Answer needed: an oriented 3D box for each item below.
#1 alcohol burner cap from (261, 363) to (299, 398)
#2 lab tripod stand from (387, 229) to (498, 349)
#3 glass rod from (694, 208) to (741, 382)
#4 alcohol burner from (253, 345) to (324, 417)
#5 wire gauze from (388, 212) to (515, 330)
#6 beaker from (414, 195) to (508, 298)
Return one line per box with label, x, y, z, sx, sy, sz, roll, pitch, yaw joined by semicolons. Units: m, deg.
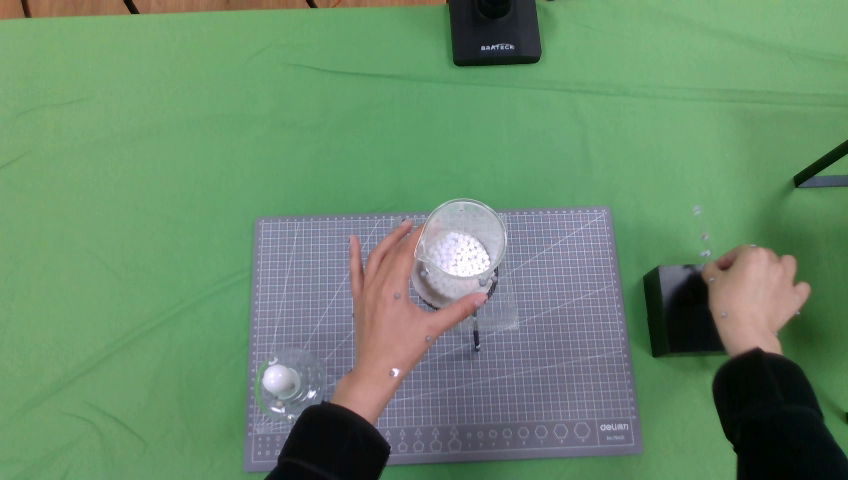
alcohol burner cap;-0.148;0.141;0.613;0.034;0.048;0.033;0;68;2
lab tripod stand;0.029;0.045;0.673;0.148;0.132;0.147;0;72;0
glass rod;0.330;0.061;0.681;0.008;0.008;0.199;-12;87;-5
alcohol burner;-0.147;0.150;0.647;0.078;0.119;0.077;1;75;-2
wire gauze;0.027;0.030;0.608;0.125;0.011;0.121;0;74;-4
beaker;0.030;0.012;0.564;0.084;0.101;0.073;-18;74;-7
